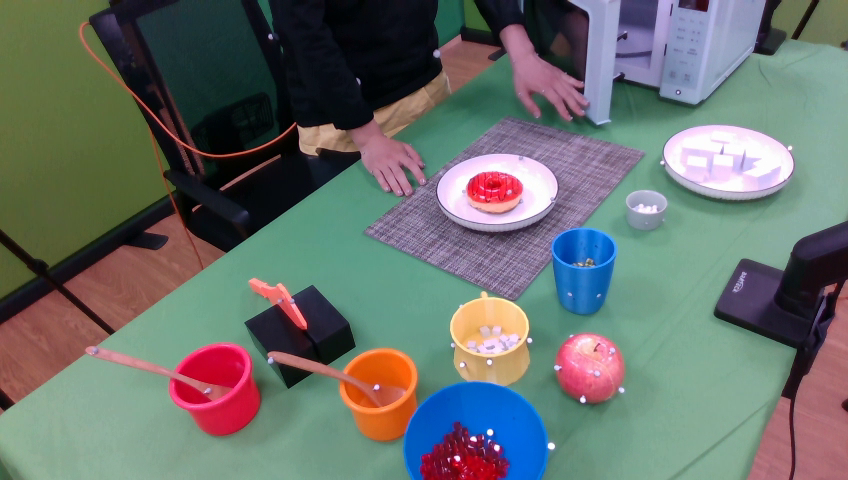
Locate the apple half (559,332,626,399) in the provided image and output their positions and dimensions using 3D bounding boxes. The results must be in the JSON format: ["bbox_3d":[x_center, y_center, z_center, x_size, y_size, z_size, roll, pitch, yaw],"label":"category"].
[{"bbox_3d":[0.209,0.147,0.730,0.080,0.075,0.053,26,48,38],"label":"apple half"}]

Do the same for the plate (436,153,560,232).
[{"bbox_3d":[0.125,-0.078,1.029,0.209,0.038,0.208,-4,40,4],"label":"plate"}]

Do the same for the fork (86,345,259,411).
[{"bbox_3d":[-0.298,0.167,0.728,0.209,0.018,0.028,28,47,-23],"label":"fork"}]

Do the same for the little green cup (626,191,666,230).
[{"bbox_3d":[0.352,-0.046,0.963,0.061,0.039,0.061,-4,40,4],"label":"little green cup"}]

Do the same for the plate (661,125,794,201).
[{"bbox_3d":[0.513,-0.128,1.035,0.207,0.039,0.206,-4,40,4],"label":"plate"}]

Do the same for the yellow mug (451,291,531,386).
[{"bbox_3d":[0.086,0.120,0.786,0.100,0.064,0.130,-7,39,2],"label":"yellow mug"}]

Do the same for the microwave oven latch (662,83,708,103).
[{"bbox_3d":[0.518,-0.297,1.204,0.078,0.029,0.030,29,53,36],"label":"microwave oven latch"}]

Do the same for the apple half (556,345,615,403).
[{"bbox_3d":[0.181,0.166,0.709,0.080,0.081,0.033,29,50,35],"label":"apple half"}]

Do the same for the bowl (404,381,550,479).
[{"bbox_3d":[0.058,0.235,0.645,0.151,0.077,0.150,-4,39,4],"label":"bowl"}]

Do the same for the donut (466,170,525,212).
[{"bbox_3d":[0.121,-0.083,1.019,0.099,0.048,0.098,-4,39,3],"label":"donut"}]

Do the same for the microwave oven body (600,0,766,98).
[{"bbox_3d":[0.472,-0.513,1.317,0.438,0.261,0.327,26,51,34],"label":"microwave oven body"}]

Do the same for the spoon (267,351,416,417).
[{"bbox_3d":[-0.091,0.163,0.699,0.021,0.195,0.041,-44,30,27],"label":"spoon"}]

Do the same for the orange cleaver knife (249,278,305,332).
[{"bbox_3d":[-0.210,0.089,0.855,0.012,0.077,0.210,-28,15,-24],"label":"orange cleaver knife"}]

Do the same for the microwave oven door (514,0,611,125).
[{"bbox_3d":[0.276,-0.419,1.229,0.039,0.245,0.353,-18,41,-12],"label":"microwave oven door"}]

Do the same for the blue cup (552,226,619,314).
[{"bbox_3d":[0.218,0.047,0.825,0.092,0.101,0.092,-6,39,5],"label":"blue cup"}]
